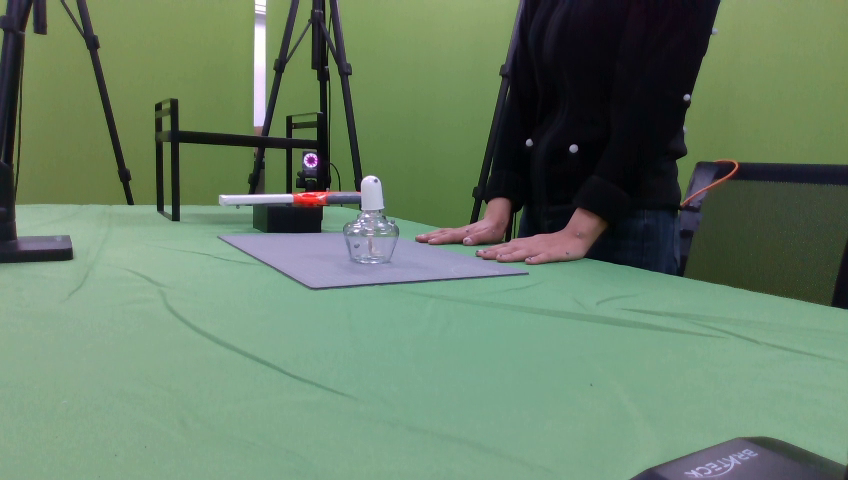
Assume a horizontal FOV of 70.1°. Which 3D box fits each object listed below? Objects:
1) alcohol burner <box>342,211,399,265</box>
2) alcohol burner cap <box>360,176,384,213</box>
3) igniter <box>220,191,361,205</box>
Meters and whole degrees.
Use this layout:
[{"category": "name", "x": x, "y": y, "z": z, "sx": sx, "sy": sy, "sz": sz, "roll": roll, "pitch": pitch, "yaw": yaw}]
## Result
[{"category": "alcohol burner", "x": -0.073, "y": -0.027, "z": 0.818, "sx": 0.078, "sy": 0.119, "sz": 0.078, "roll": 1, "pitch": 6, "yaw": 0}, {"category": "alcohol burner cap", "x": -0.071, "y": -0.062, "z": 0.814, "sx": 0.034, "sy": 0.048, "sz": 0.034, "roll": -2, "pitch": 12, "yaw": 1}, {"category": "igniter", "x": -0.242, "y": -0.079, "z": 1.152, "sx": 0.278, "sy": 0.025, "sz": 0.057, "roll": -3, "pitch": 12, "yaw": -26}]
